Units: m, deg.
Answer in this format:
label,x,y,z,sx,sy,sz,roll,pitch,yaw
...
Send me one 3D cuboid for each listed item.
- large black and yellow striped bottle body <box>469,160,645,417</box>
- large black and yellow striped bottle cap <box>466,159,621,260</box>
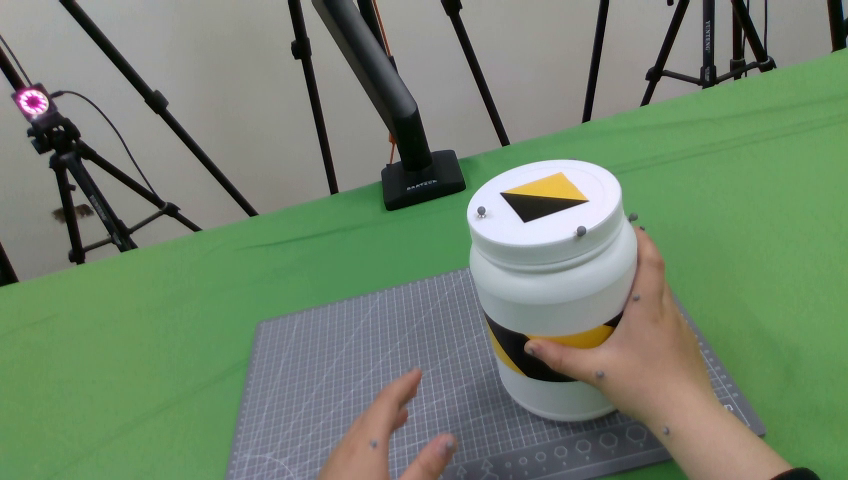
label,x,y,z,sx,sy,sz,roll,pitch,yaw
large black and yellow striped bottle body,0.111,0.040,0.501,0.130,0.186,0.129,-12,35,9
large black and yellow striped bottle cap,0.088,-0.026,0.454,0.115,0.019,0.114,-11,34,8
